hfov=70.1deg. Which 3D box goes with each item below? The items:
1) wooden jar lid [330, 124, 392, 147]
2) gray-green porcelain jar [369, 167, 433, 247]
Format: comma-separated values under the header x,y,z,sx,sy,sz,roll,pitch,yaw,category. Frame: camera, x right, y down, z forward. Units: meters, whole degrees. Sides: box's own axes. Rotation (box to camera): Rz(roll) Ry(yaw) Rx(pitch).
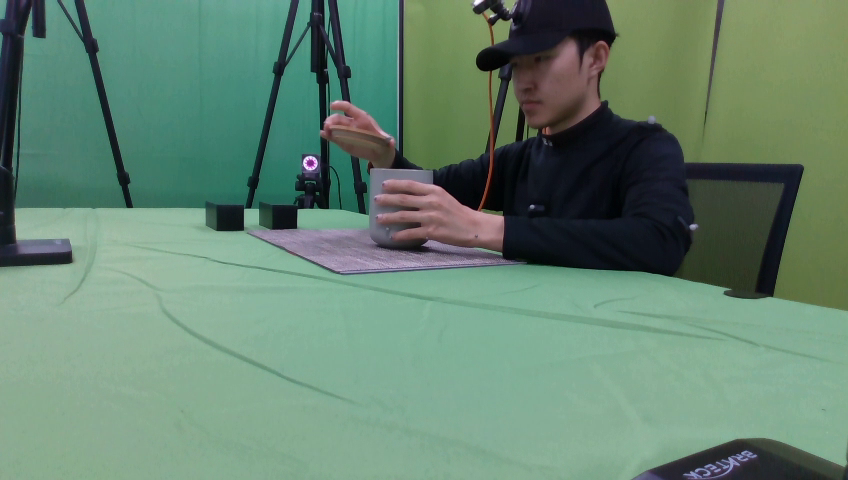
x,y,z,sx,sy,sz,roll,pitch,yaw,category
-0.111,-0.181,1.055,0.108,0.020,0.108,12,1,0,wooden jar lid
-0.038,-0.056,1.001,0.106,0.126,0.106,1,6,0,gray-green porcelain jar
